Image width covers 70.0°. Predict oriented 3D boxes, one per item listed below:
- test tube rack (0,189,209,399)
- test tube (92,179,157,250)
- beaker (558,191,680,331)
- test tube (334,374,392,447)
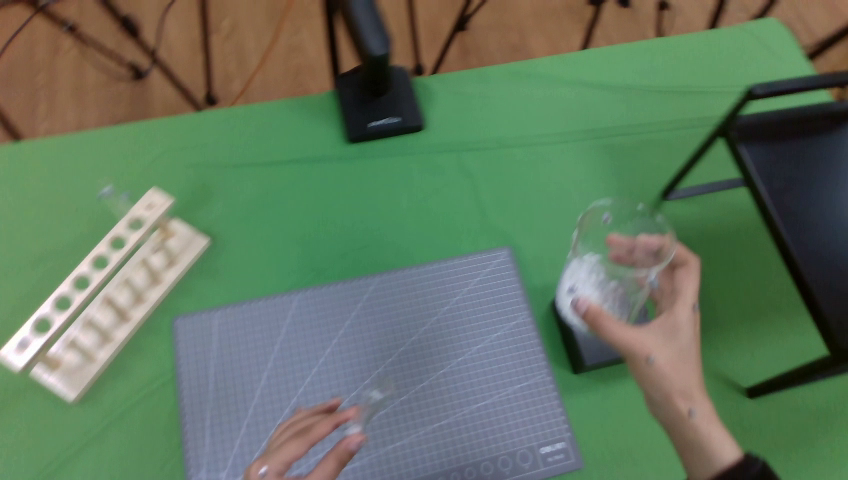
[{"bbox_3d":[-0.373,0.062,0.728,0.066,0.086,0.241,29,66,10],"label":"test tube rack"},{"bbox_3d":[-0.350,-0.026,0.716,0.017,0.151,0.017,0,63,0],"label":"test tube"},{"bbox_3d":[0.150,0.022,0.492,0.084,0.101,0.073,-15,53,-13],"label":"beaker"},{"bbox_3d":[-0.054,0.146,0.504,0.017,0.151,0.017,11,54,-15],"label":"test tube"}]
